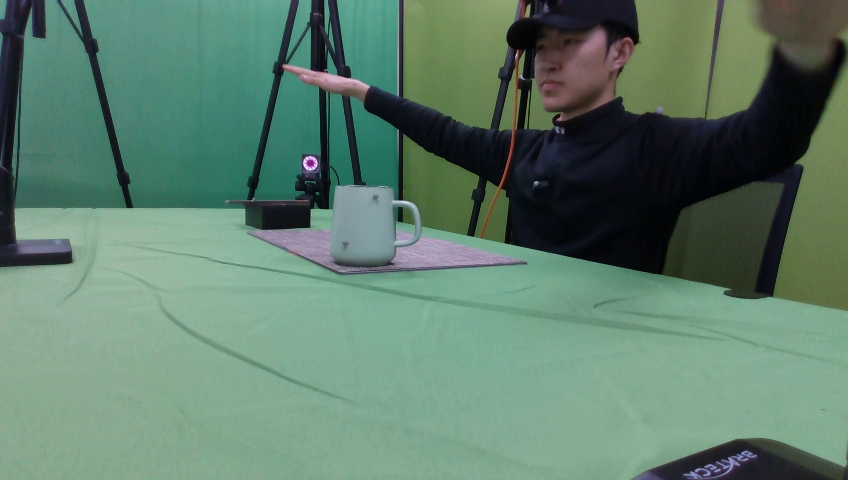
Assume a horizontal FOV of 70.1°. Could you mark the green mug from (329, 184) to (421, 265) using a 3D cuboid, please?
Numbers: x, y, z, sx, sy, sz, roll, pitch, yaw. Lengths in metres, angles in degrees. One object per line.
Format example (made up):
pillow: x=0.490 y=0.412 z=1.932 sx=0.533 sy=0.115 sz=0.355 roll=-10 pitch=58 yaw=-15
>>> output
green mug: x=-0.066 y=-0.022 z=0.817 sx=0.125 sy=0.105 sz=0.092 roll=3 pitch=7 yaw=8

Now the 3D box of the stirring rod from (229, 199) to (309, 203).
stirring rod: x=-0.316 y=-0.080 z=1.246 sx=0.177 sy=0.006 sz=0.014 roll=-4 pitch=6 yaw=-42
